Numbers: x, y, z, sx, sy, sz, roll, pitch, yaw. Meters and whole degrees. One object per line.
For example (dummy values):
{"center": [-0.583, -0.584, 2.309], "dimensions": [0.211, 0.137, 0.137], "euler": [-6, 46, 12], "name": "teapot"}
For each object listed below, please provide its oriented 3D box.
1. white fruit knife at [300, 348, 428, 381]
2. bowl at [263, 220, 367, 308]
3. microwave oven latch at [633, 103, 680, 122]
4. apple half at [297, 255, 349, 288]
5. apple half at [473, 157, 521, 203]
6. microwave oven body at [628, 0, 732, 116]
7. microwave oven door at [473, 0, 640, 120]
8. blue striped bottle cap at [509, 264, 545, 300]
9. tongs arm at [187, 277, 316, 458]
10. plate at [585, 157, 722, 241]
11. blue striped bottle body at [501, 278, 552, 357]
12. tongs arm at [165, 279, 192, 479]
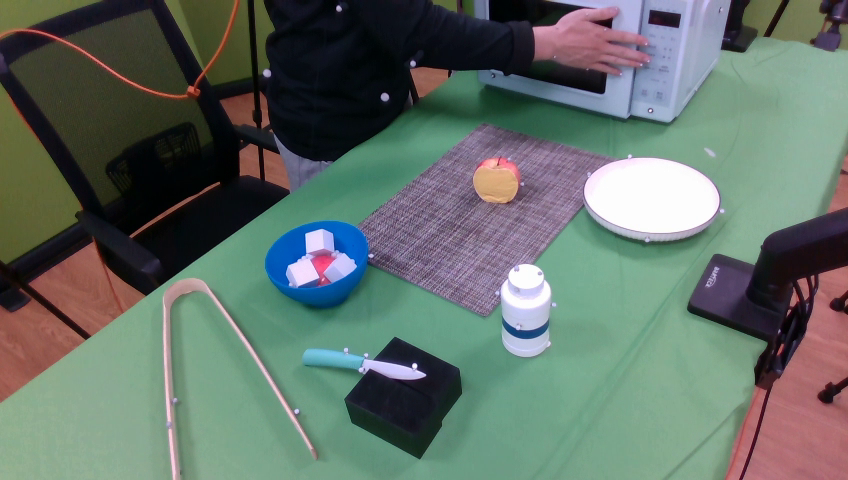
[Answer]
{"center": [-0.079, 0.154, 0.748], "dimensions": [0.206, 0.027, 0.016], "euler": [1, 21, 34], "name": "white fruit knife"}
{"center": [-0.152, 0.047, 0.892], "dimensions": [0.151, 0.077, 0.150], "euler": [-4, 40, 4], "name": "bowl"}
{"center": [0.444, -0.249, 1.158], "dimensions": [0.078, 0.029, 0.030], "euler": [21, 49, 30], "name": "microwave oven latch"}
{"center": [-0.153, 0.044, 0.889], "dimensions": [0.081, 0.033, 0.081], "euler": [-2, 40, 2], "name": "apple half"}
{"center": [0.127, -0.106, 1.030], "dimensions": [0.080, 0.075, 0.053], "euler": [4, 36, 19], "name": "apple half"}
{"center": [0.377, -0.463, 1.267], "dimensions": [0.438, 0.261, 0.327], "euler": [21, 49, 30], "name": "microwave oven body"}
{"center": [0.252, -0.391, 1.194], "dimensions": [0.353, 0.245, 0.039], "euler": [24, 49, 31], "name": "microwave oven door"}
{"center": [0.125, 0.050, 0.735], "dimensions": [0.044, 0.021, 0.044], "euler": [-6, 39, 5], "name": "blue striped bottle cap"}
{"center": [-0.240, 0.154, 0.815], "dimensions": [0.028, 0.028, 0.384], "euler": [-32, 45, -21], "name": "tongs arm"}
{"center": [0.367, -0.063, 0.979], "dimensions": [0.207, 0.039, 0.206], "euler": [-4, 40, 4], "name": "plate"}
{"center": [0.129, 0.089, 0.769], "dimensions": [0.063, 0.121, 0.063], "euler": [-4, 40, 4], "name": "blue striped bottle body"}
{"center": [-0.313, 0.182, 0.789], "dimensions": [0.051, 0.026, 0.381], "euler": [-19, 41, -14], "name": "tongs arm"}
